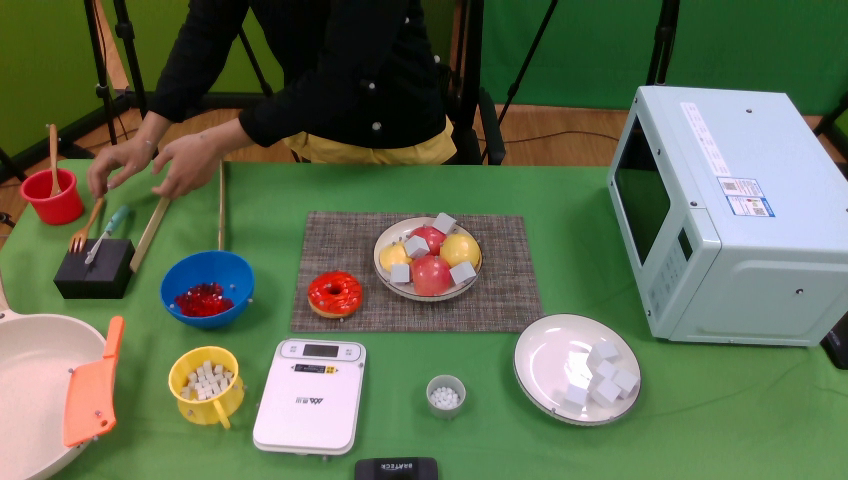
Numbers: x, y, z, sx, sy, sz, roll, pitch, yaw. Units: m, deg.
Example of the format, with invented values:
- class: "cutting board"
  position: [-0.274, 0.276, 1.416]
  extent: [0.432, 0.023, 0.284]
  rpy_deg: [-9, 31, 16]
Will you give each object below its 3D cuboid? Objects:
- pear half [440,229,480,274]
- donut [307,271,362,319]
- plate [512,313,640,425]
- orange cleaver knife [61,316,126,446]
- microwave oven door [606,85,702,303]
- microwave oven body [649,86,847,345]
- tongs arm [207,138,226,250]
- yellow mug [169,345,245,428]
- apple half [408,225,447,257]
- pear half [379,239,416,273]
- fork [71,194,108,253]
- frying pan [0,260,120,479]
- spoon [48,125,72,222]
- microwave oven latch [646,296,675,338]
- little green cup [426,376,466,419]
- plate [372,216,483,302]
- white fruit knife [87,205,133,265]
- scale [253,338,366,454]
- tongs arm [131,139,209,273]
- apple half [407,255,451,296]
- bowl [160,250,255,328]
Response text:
- class: "pear half"
  position: [0.065, 0.007, 1.150]
  extent: [0.076, 0.056, 0.109]
  rpy_deg: [-10, 43, -2]
- class: "donut"
  position: [-0.158, 0.097, 1.073]
  extent: [0.099, 0.048, 0.098]
  rpy_deg: [4, 45, -4]
- class: "plate"
  position: [0.246, 0.213, 0.999]
  extent: [0.208, 0.039, 0.206]
  rpy_deg: [2, 46, -2]
- class: "orange cleaver knife"
  position: [-0.480, 0.199, 0.888]
  extent: [0.077, 0.012, 0.210]
  rpy_deg: [-8, 46, -9]
- class: "microwave oven door"
  position: [0.422, -0.094, 1.140]
  extent: [0.039, 0.245, 0.353]
  rpy_deg: [2, 46, -1]
- class: "microwave oven body"
  position: [0.567, -0.053, 1.118]
  extent: [0.326, 0.261, 0.439]
  rpy_deg: [2, 45, -1]
- class: "tongs arm"
  position: [-0.431, -0.089, 1.245]
  extent: [0.051, 0.027, 0.382]
  rpy_deg: [-9, 46, -6]
- class: "yellow mug"
  position: [-0.322, 0.230, 0.922]
  extent: [0.100, 0.064, 0.130]
  rpy_deg: [-24, 53, -25]
- class: "apple half"
  position: [0.009, -0.006, 1.176]
  extent: [0.081, 0.033, 0.081]
  rpy_deg: [1, 52, -1]
- class: "pear half"
  position: [-0.048, 0.024, 1.147]
  extent: [0.070, 0.031, 0.087]
  rpy_deg: [12, 47, -11]
- class: "fork"
  position: [-0.634, -0.035, 1.158]
  extent: [0.028, 0.019, 0.206]
  rpy_deg: [-8, 31, -8]
- class: "frying pan"
  position: [-0.647, 0.164, 0.936]
  extent: [0.307, 0.103, 0.485]
  rpy_deg: [-19, 58, -22]
- class: "spoon"
  position: [-0.718, -0.131, 1.189]
  extent: [0.041, 0.021, 0.193]
  rpy_deg: [-3, 90, -7]
- class: "microwave oven latch"
  position: [0.412, 0.134, 1.061]
  extent: [0.030, 0.029, 0.078]
  rpy_deg: [4, 45, 1]
- class: "little green cup"
  position: [0.033, 0.248, 0.950]
  extent: [0.061, 0.039, 0.061]
  rpy_deg: [2, 46, -2]
- class: "plate"
  position: [0.006, 0.038, 1.145]
  extent: [0.209, 0.038, 0.208]
  rpy_deg: [2, 46, -2]
- class: "white fruit knife"
  position: [-0.584, -0.013, 1.129]
  extent: [0.016, 0.027, 0.206]
  rpy_deg: [-1, 32, -4]
- class: "scale"
  position: [-0.175, 0.236, 0.951]
  extent: [0.149, 0.032, 0.199]
  rpy_deg: [5, 45, -1]
- class: "tongs arm"
  position: [-0.514, -0.084, 1.239]
  extent: [0.028, 0.028, 0.385]
  rpy_deg: [-1, 45, 6]
- class: "apple half"
  position: [0.011, 0.058, 1.103]
  extent: [0.075, 0.053, 0.080]
  rpy_deg: [-6, 43, -13]
- class: "bowl"
  position: [-0.362, 0.098, 1.040]
  extent: [0.151, 0.077, 0.150]
  rpy_deg: [2, 45, -2]
